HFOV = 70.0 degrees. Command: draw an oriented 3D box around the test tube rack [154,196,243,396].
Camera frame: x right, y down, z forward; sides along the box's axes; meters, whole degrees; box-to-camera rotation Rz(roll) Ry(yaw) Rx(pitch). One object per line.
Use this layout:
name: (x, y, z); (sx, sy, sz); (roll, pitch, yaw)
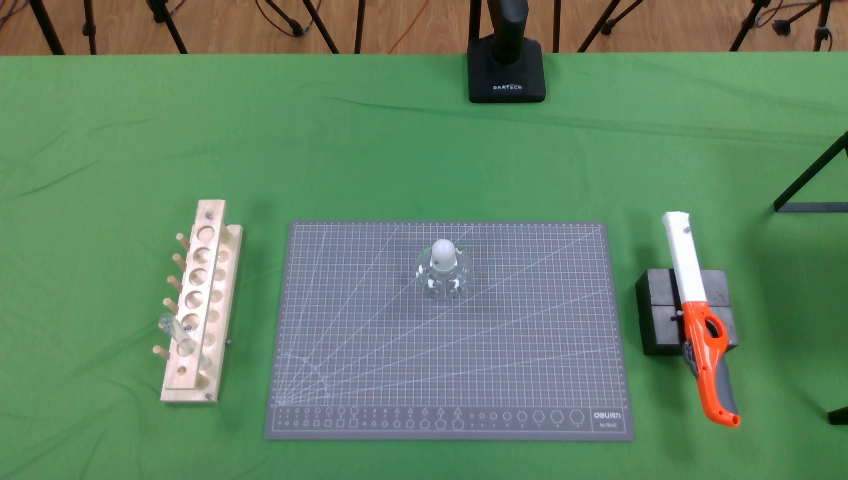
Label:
test tube rack: (-0.290, 0.069, 0.769); (0.067, 0.086, 0.240); (1, 66, 0)

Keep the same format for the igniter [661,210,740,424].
igniter: (0.335, 0.085, 0.745); (0.057, 0.025, 0.274); (0, 63, -3)

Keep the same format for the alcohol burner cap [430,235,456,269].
alcohol burner cap: (0.023, 0.012, 0.739); (0.034, 0.048, 0.033); (-1, 66, 2)

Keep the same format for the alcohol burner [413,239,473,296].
alcohol burner: (0.024, 0.027, 0.771); (0.078, 0.120, 0.077); (-1, 66, 2)

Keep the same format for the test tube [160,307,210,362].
test tube: (-0.271, 0.112, 0.695); (0.017, 0.151, 0.017); (2, 61, -3)
